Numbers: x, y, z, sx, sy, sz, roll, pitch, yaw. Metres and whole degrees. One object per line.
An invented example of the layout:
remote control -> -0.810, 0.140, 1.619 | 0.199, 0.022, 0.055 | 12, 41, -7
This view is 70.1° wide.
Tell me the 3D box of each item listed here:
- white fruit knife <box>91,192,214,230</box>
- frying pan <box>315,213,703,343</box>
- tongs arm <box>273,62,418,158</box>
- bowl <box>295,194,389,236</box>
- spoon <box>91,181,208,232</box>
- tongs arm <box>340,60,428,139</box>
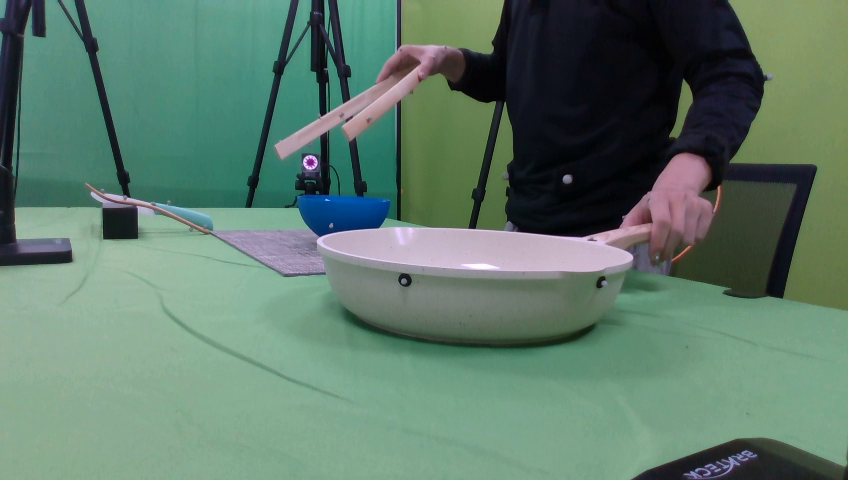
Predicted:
white fruit knife -> -0.477, -0.055, 1.077 | 0.208, 0.027, 0.016 | 15, -5, -30
frying pan -> 0.133, 0.014, 0.629 | 0.490, 0.102, 0.305 | -11, 14, -29
tongs arm -> -0.120, -0.239, 1.070 | 0.050, 0.026, 0.386 | -8, 26, 38
bowl -> -0.132, -0.032, 0.980 | 0.151, 0.077, 0.151 | 2, 7, 0
spoon -> -0.461, -0.053, 1.023 | 0.195, 0.021, 0.041 | 22, 25, -24
tongs arm -> -0.056, -0.248, 1.028 | 0.028, 0.028, 0.388 | -18, 22, 28
